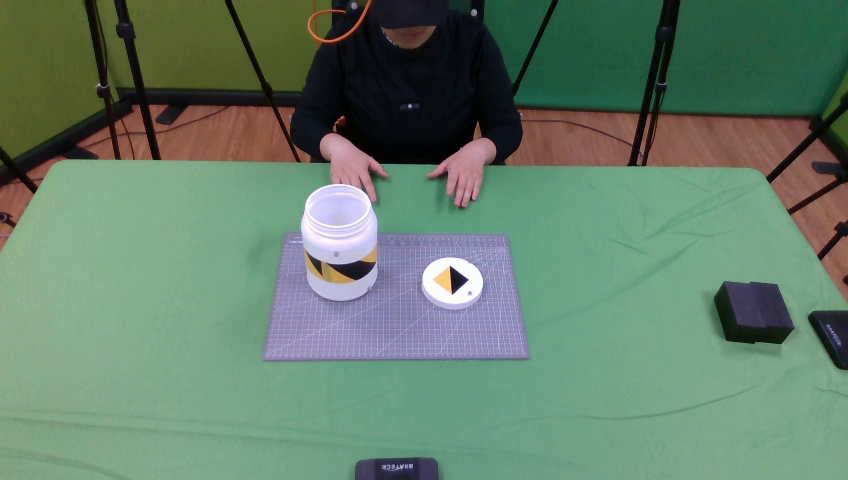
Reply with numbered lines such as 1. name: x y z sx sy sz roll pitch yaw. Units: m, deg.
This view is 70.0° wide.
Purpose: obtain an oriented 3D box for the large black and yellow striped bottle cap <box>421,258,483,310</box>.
1. large black and yellow striped bottle cap: 0.053 0.080 1.126 0.115 0.019 0.114 2 45 -1

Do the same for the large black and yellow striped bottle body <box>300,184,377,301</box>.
1. large black and yellow striped bottle body: -0.148 0.004 1.067 0.131 0.185 0.130 2 46 -2
